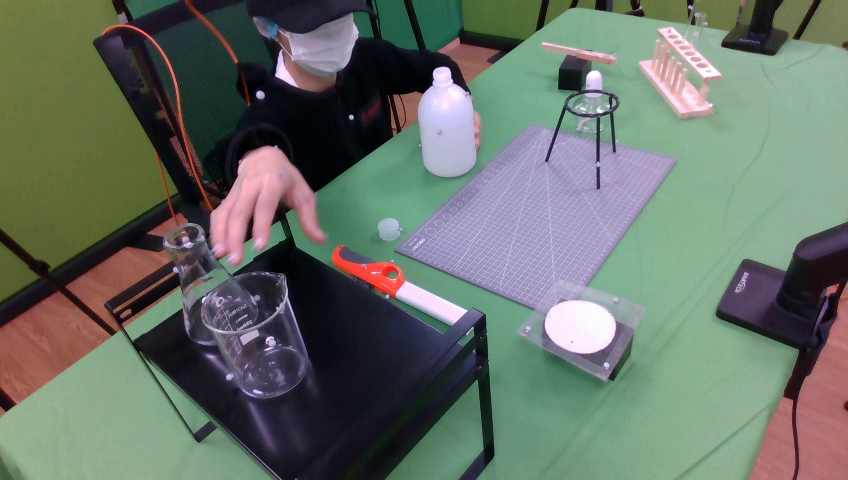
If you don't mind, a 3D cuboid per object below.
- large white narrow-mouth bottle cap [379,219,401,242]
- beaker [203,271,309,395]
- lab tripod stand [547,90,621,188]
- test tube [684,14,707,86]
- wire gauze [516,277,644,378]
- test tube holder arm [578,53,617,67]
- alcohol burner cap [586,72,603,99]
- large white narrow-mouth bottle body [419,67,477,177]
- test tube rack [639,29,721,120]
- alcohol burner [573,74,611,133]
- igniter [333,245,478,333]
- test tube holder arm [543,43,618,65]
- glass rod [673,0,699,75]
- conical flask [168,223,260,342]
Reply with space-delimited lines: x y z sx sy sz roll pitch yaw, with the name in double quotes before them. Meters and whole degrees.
"large white narrow-mouth bottle cap" -0.057 -0.016 1.011 0.038 0.024 0.037 -4 40 4
"beaker" -0.150 0.088 0.565 0.073 0.101 0.084 20 47 29
"lab tripod stand" 0.289 -0.184 1.062 0.148 0.132 0.147 -6 41 6
"test tube" 0.541 -0.379 1.216 0.017 0.151 0.017 -2 44 2
"wire gauze" 0.197 0.103 0.765 0.124 0.011 0.122 23 50 32
"test tube holder arm" 0.375 -0.393 1.314 0.087 0.015 0.010 25 51 32
"alcohol burner cap" 0.325 -0.297 1.154 0.034 0.048 0.033 -8 35 6
"large white narrow-mouth bottle body" 0.043 -0.218 1.099 0.102 0.195 0.101 -4 40 4
"test tube rack" 0.527 -0.351 1.262 0.067 0.085 0.241 -8 40 1
"alcohol burner" 0.330 -0.270 1.177 0.078 0.119 0.077 -4 43 4
"igniter" -0.038 0.068 0.905 0.274 0.025 0.057 24 60 32
"test tube holder arm" 0.344 -0.413 1.340 0.177 0.015 0.013 25 51 31
"glass rod" 0.541 -0.427 1.246 0.008 0.200 0.008 0 48 1
"conical flask" -0.219 0.040 0.614 0.075 0.122 0.075 -5 40 4
